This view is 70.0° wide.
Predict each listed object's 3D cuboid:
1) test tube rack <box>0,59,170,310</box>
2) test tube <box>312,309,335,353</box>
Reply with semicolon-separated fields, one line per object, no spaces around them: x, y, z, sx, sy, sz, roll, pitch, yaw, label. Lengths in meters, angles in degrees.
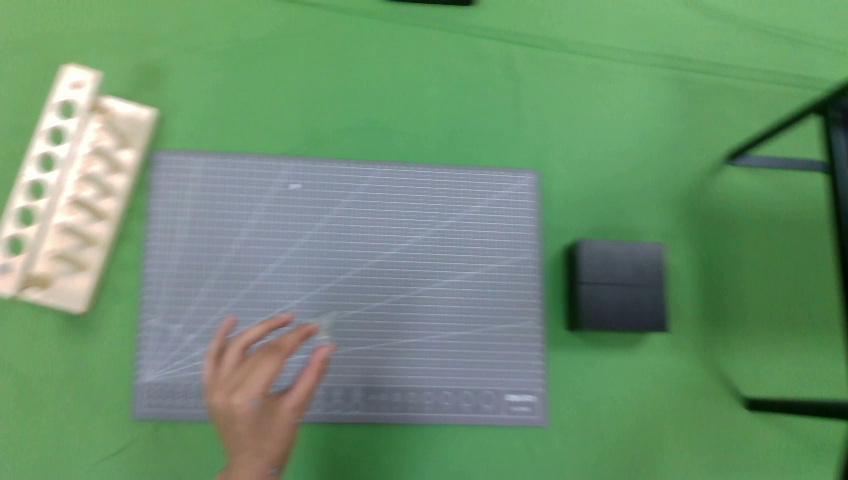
-0.356;-0.055;0.637;0.067;0.085;0.241;17;78;-3;test tube rack
-0.089;0.083;0.530;0.017;0.150;0.017;4;72;-11;test tube
